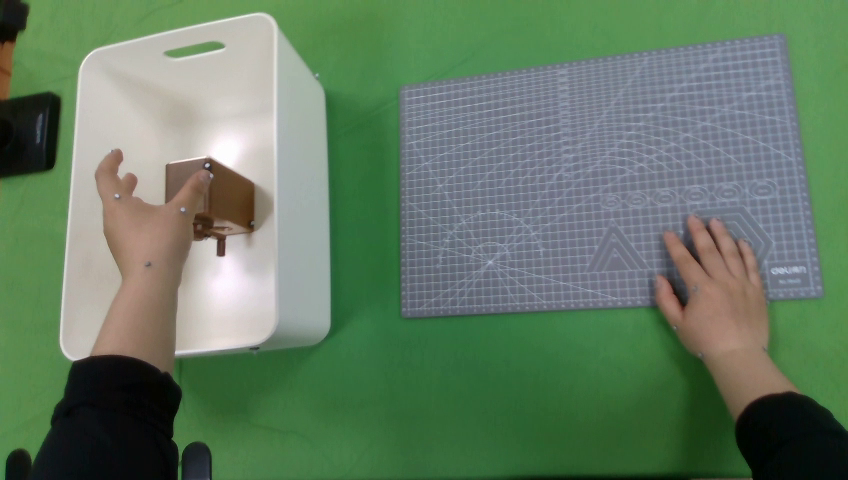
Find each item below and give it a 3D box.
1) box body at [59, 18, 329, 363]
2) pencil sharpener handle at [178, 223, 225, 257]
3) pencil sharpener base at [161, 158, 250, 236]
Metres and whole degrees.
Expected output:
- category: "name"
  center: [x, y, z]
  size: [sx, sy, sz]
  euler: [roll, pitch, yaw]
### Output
- category: "box body"
  center: [-0.258, -0.042, 0.721]
  size: [0.254, 0.161, 0.362]
  euler: [-7, 77, 12]
- category: "pencil sharpener handle"
  center: [-0.262, 0.001, 0.724]
  size: [0.036, 0.068, 0.030]
  euler: [-9, 77, 21]
- category: "pencil sharpener base"
  center: [-0.266, -0.046, 0.746]
  size: [0.061, 0.107, 0.076]
  euler: [-7, 78, 12]
